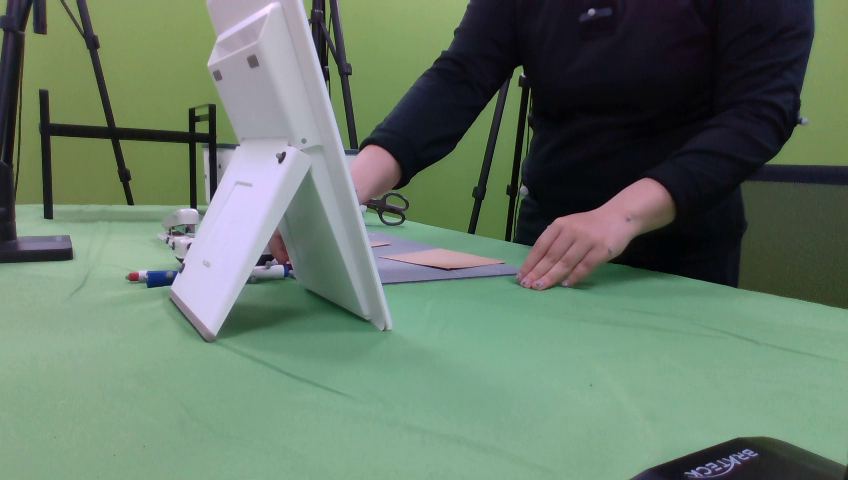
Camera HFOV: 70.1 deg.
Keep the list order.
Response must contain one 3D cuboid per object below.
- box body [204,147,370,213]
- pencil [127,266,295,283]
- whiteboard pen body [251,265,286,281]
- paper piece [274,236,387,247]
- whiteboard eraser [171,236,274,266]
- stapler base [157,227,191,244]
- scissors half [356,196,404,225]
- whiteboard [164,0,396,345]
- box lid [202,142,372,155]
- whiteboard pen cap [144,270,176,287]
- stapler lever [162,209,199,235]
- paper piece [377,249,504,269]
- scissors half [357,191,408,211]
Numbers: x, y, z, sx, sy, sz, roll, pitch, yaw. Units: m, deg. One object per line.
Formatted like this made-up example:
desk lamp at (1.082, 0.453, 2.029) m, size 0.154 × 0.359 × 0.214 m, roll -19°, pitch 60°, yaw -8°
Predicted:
box body at (-0.346, -0.152, 1.520) m, size 0.366 × 0.160 × 0.253 m, roll -1°, pitch 9°, yaw -31°
pencil at (-0.231, 0.037, 0.690) m, size 0.195 × 0.012 × 0.012 m, roll -2°, pitch 9°, yaw -34°
whiteboard pen body at (-0.220, 0.039, 0.656) m, size 0.141 × 0.017 × 0.017 m, roll -2°, pitch 9°, yaw -30°
paper piece at (-0.151, 0.003, 0.978) m, size 0.135 × 0.008 × 0.139 m, roll 13°, pitch 10°, yaw 35°
whiteboard eraser at (-0.248, 0.014, 0.747) m, size 0.113 × 0.042 × 0.055 m, roll -2°, pitch 9°, yaw -32°
stapler base at (-0.376, -0.008, 0.935) m, size 0.041 × 0.024 × 0.130 m, roll 0°, pitch 5°, yaw -38°
scissors half at (-0.127, -0.072, 1.321) m, size 0.175 × 0.040 × 0.013 m, roll 23°, pitch 5°, yaw -5°
whiteboard at (-0.173, -0.053, 0.511) m, size 0.144 × 0.305 × 0.216 m, roll -23°, pitch 19°, yaw -26°
box lid at (-0.344, -0.225, 1.509) m, size 0.373 × 0.015 × 0.262 m, roll -2°, pitch 8°, yaw -31°
whiteboard pen cap at (-0.271, 0.039, 0.627) m, size 0.033 × 0.018 × 0.018 m, roll -3°, pitch 10°, yaw -32°
stapler lever at (-0.376, -0.031, 0.933) m, size 0.027 × 0.040 × 0.117 m, roll 0°, pitch 7°, yaw -38°
paper piece at (0.026, 0.026, 0.865) m, size 0.134 × 0.004 × 0.136 m, roll 9°, pitch 9°, yaw 43°
scissors half at (-0.122, -0.092, 1.318) m, size 0.175 × 0.040 × 0.013 m, roll 6°, pitch 12°, yaw -3°
